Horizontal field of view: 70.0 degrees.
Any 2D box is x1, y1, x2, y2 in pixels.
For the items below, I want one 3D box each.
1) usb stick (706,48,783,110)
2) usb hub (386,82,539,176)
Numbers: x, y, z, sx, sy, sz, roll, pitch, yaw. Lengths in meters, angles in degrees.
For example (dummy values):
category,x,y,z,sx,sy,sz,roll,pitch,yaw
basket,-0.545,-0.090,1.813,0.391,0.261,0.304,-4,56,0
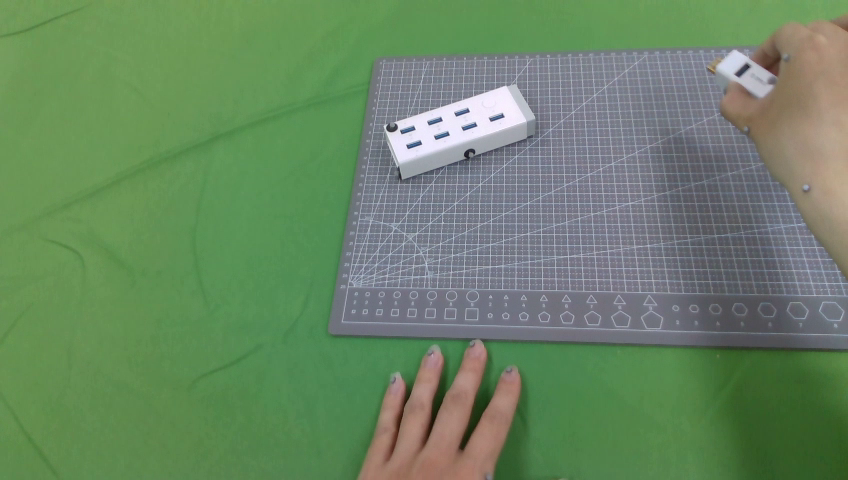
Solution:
category,x,y,z,sx,sy,sz,roll,pitch,yaw
usb stick,0.241,-0.126,0.461,0.021,0.027,0.058,-47,55,9
usb hub,0.033,-0.098,0.529,0.125,0.025,0.049,-18,58,-5
